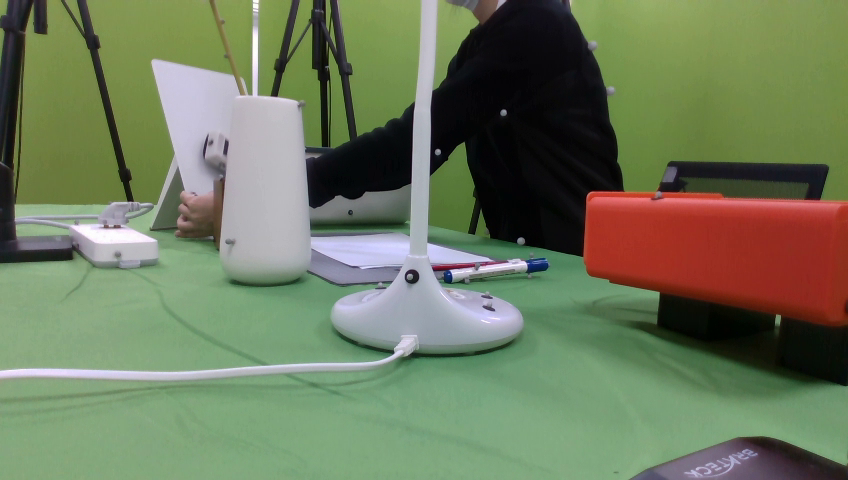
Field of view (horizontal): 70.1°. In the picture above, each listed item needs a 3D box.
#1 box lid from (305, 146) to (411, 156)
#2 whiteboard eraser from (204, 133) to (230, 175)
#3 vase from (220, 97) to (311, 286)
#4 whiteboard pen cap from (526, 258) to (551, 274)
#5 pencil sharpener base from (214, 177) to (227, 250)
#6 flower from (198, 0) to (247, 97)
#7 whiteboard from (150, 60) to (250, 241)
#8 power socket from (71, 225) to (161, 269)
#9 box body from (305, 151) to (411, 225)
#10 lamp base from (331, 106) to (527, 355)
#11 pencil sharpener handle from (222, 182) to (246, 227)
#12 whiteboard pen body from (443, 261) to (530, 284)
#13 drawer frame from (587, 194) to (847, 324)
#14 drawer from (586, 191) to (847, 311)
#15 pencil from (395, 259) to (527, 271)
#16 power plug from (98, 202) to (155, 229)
[{"bbox_3d":[-0.229,-0.200,1.360,0.373,0.015,0.262,-3,9,-33],"label":"box lid"},{"bbox_3d":[-0.329,-0.134,1.049,0.041,0.055,0.113,-14,-27,27],"label":"whiteboard eraser"},{"bbox_3d":[-0.172,-0.052,0.662,0.098,0.200,0.098,3,9,0],"label":"vase"},{"bbox_3d":[0.141,0.033,0.758,0.033,0.018,0.018,-7,11,-26],"label":"whiteboard pen cap"},{"bbox_3d":[-0.265,-0.036,0.870,0.061,0.107,0.076,-2,8,-29],"label":"pencil sharpener base"},{"bbox_3d":[-0.187,-0.133,0.648,0.038,0.362,0.044,-1,22,43],"label":"flower"},{"bbox_3d":[-0.408,-0.139,1.093,0.143,0.305,0.218,-15,-1,26],"label":"whiteboard"},{"bbox_3d":[-0.408,0.004,0.793,0.072,0.032,0.225,-2,8,-38],"label":"power socket"},{"bbox_3d":[-0.230,-0.126,1.371,0.366,0.160,0.253,-2,9,-33],"label":"box body"},{"bbox_3d":[0.006,-0.012,0.478,0.161,0.180,0.179,2,10,2],"label":"lamp base"},{"bbox_3d":[-0.289,-0.055,0.912,0.036,0.067,0.030,-2,8,-29],"label":"pencil sharpener handle"},{"bbox_3d":[0.087,0.037,0.734,0.141,0.017,0.017,-6,10,-27],"label":"whiteboard pen body"},{"bbox_3d":[0.285,0.004,0.508,0.203,0.082,0.212,-1,6,-29],"label":"drawer frame"},{"bbox_3d":[0.281,0.001,0.513,0.195,0.073,0.210,-1,7,-29],"label":"drawer"},{"bbox_3d":[0.052,0.034,0.783,0.195,0.012,0.012,-2,9,-25],"label":"pencil"},{"bbox_3d":[-0.416,-0.026,0.848,0.073,0.052,0.035,0,8,-28],"label":"power plug"}]
